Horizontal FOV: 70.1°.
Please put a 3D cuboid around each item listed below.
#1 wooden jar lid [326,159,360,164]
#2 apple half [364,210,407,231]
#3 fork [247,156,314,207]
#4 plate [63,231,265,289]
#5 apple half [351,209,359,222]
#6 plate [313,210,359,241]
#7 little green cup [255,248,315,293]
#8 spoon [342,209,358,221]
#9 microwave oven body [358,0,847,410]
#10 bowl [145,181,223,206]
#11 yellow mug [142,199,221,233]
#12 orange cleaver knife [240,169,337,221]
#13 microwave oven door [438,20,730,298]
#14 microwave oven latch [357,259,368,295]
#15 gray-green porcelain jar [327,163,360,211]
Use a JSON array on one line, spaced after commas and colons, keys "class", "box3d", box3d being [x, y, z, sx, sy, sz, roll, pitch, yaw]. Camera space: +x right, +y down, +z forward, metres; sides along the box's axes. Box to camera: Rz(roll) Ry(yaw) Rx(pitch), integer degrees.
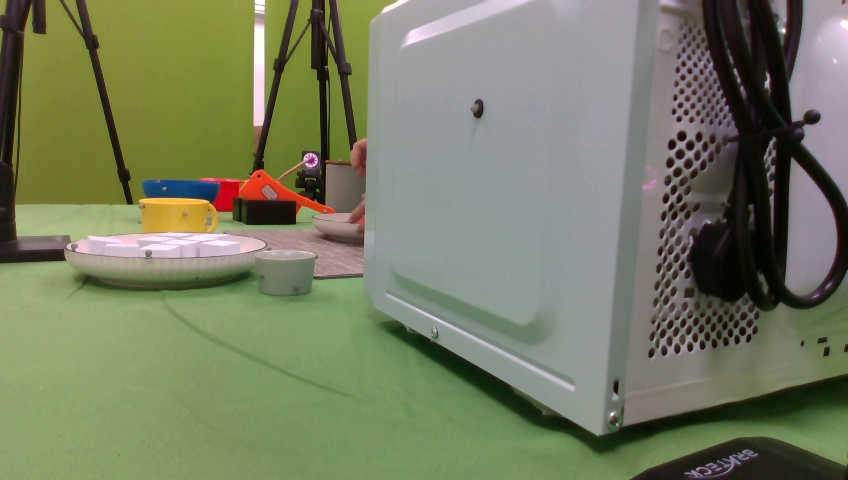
[{"class": "wooden jar lid", "box3d": [-0.185, -0.187, 1.481, 0.108, 0.020, 0.108, 4, 6, 0]}, {"class": "apple half", "box3d": [-0.068, -0.037, 1.103, 0.081, 0.033, 0.081, -1, 10, 0]}, {"class": "fork", "box3d": [-0.360, -0.147, 1.523, 0.207, 0.018, 0.028, -43, 15, -7]}, {"class": "plate", "box3d": [-0.288, 0.021, 0.687, 0.208, 0.039, 0.207, 2, 8, 0]}, {"class": "apple half", "box3d": [-0.082, -0.036, 1.024, 0.081, 0.053, 0.074, -3, 11, -34]}, {"class": "plate", "box3d": [-0.091, -0.025, 1.063, 0.209, 0.038, 0.209, 2, 8, 0]}, {"class": "little green cup", "box3d": [-0.144, 0.031, 0.627, 0.061, 0.038, 0.061, 2, 6, 0]}, {"class": "spoon", "box3d": [-0.123, -0.047, 1.117, 0.041, 0.021, 0.194, 2, 19, 16]}, {"class": "microwave oven body", "box3d": [0.210, -0.051, 0.471, 0.444, 0.260, 0.324, -1, 7, -28]}, {"class": "bowl", "box3d": [-0.499, -0.081, 1.261, 0.151, 0.077, 0.151, 2, 8, 0]}, {"class": "yellow mug", "box3d": [-0.373, -0.030, 0.948, 0.099, 0.064, 0.131, 6, 8, 30]}, {"class": "orange cleaver knife", "box3d": [-0.287, -0.082, 1.298, 0.212, 0.077, 0.012, 25, -2, -31]}, {"class": "microwave oven door", "box3d": [0.181, -0.076, 0.618, 0.358, 0.243, 0.039, -2, 8, -28]}, {"class": "microwave oven latch", "box3d": [-0.019, 0.031, 0.529, 0.079, 0.029, 0.030, -1, 7, -26]}, {"class": "gray-green porcelain jar", "box3d": [-0.187, -0.125, 1.490, 0.106, 0.126, 0.106, 2, 8, 0]}]
